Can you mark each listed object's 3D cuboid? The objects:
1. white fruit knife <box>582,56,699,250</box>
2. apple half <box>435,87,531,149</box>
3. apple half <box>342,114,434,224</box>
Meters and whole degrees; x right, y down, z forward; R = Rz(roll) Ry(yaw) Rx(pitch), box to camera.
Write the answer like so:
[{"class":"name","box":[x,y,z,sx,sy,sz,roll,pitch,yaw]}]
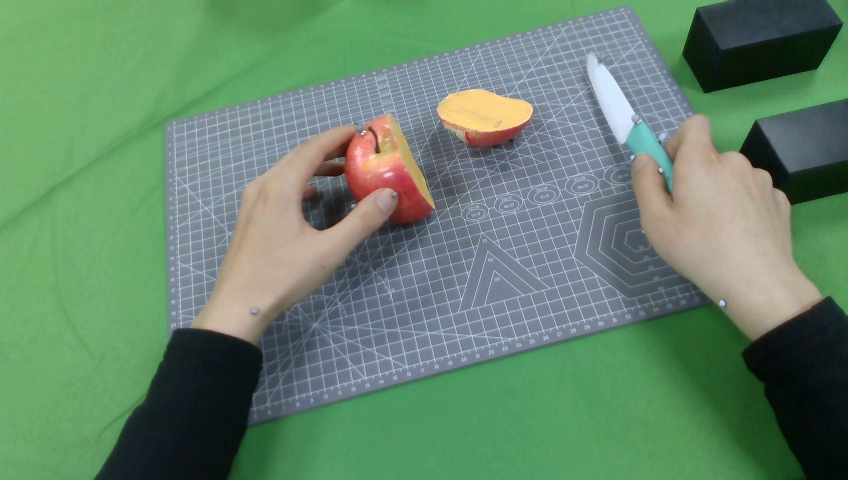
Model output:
[{"class":"white fruit knife","box":[0.165,-0.081,0.479,0.027,0.016,0.205,-42,47,33]},{"class":"apple half","box":[0.046,-0.093,0.500,0.081,0.033,0.080,-1,40,1]},{"class":"apple half","box":[-0.032,-0.047,0.464,0.053,0.075,0.080,-27,63,10]}]
